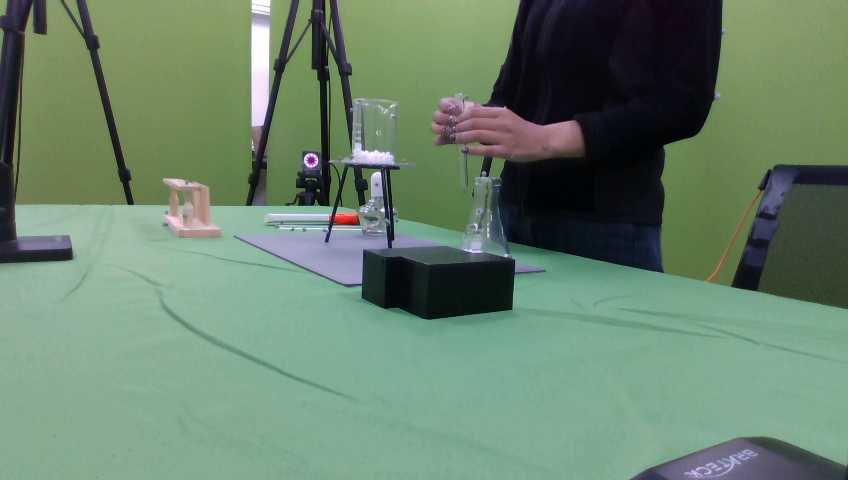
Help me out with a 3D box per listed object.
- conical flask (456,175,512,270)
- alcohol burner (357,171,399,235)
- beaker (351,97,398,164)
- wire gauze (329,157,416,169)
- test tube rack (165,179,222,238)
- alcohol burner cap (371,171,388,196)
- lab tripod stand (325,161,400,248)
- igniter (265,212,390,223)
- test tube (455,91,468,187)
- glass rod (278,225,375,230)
[{"bbox_3d":[0.082,-0.025,0.801,0.075,0.122,0.075,2,7,0],"label":"conical flask"},{"bbox_3d":[-0.085,-0.069,1.125,0.078,0.119,0.078,3,10,0],"label":"alcohol burner"},{"bbox_3d":[-0.078,-0.172,0.962,0.074,0.100,0.084,6,8,19],"label":"beaker"},{"bbox_3d":[-0.079,-0.125,0.972,0.121,0.011,0.125,6,6,5],"label":"wire gauze"},{"bbox_3d":[-0.423,-0.062,1.098,0.067,0.085,0.241,-2,9,-28],"label":"test tube rack"},{"bbox_3d":[-0.085,-0.104,1.120,0.034,0.048,0.034,-5,8,1],"label":"alcohol burner cap"},{"bbox_3d":[-0.083,-0.059,0.977,0.148,0.131,0.148,4,8,0],"label":"lab tripod stand"},{"bbox_3d":[-0.196,-0.048,1.286,0.278,0.025,0.057,-2,-2,-30],"label":"igniter"},{"bbox_3d":[0.059,-0.159,0.956,0.017,0.150,0.017,-3,3,0],"label":"test tube"},{"bbox_3d":[-0.186,-0.024,1.178,0.201,0.008,0.008,1,6,-31],"label":"glass rod"}]
